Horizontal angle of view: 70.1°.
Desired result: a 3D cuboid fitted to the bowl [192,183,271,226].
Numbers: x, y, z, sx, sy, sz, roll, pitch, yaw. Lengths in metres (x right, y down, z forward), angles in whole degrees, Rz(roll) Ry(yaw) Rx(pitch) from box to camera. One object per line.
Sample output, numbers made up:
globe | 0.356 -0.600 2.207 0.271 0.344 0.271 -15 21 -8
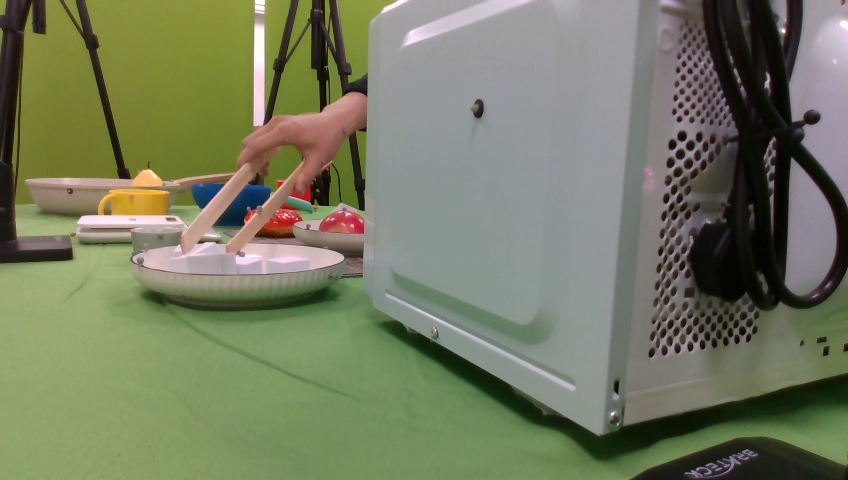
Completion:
bowl | -0.382 -0.071 1.202 0.151 0.077 0.151 3 7 0

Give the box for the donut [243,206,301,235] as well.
donut | -0.261 -0.032 1.043 0.099 0.048 0.099 4 9 0

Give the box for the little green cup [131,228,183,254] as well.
little green cup | -0.342 0.006 0.779 0.061 0.038 0.061 2 8 0

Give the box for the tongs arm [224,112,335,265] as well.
tongs arm | -0.178 -0.086 0.771 0.051 0.026 0.385 10 32 9

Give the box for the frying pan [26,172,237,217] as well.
frying pan | -0.624 -0.118 1.387 0.305 0.102 0.490 8 17 32

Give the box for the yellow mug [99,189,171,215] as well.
yellow mug | -0.518 -0.055 1.080 0.099 0.064 0.131 6 9 26

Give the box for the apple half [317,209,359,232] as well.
apple half | -0.122 -0.019 0.900 0.080 0.053 0.075 3 10 14

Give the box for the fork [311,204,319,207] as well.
fork | -0.356 -0.105 1.526 0.208 0.018 0.028 16 -5 -41

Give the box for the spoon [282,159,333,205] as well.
spoon | -0.317 -0.159 1.640 0.194 0.022 0.041 -49 32 -20

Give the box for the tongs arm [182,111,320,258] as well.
tongs arm | -0.207 -0.090 0.773 0.028 0.028 0.387 5 32 8

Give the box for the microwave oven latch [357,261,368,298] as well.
microwave oven latch | -0.019 0.033 0.530 0.079 0.029 0.030 -1 7 -26

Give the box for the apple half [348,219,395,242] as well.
apple half | -0.083 -0.018 0.966 0.081 0.033 0.081 6 10 -1

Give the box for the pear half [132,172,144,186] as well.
pear half | -0.638 -0.113 1.361 0.031 0.088 0.070 5 11 4

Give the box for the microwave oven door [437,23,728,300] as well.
microwave oven door | 0.181 -0.073 0.621 0.358 0.243 0.039 -2 8 -29

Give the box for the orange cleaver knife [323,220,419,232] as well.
orange cleaver knife | -0.096 -0.027 1.152 0.077 0.012 0.212 2 7 41

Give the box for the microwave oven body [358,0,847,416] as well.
microwave oven body | 0.211 -0.047 0.474 0.444 0.260 0.324 -1 7 -28

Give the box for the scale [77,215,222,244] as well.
scale | -0.434 -0.019 0.963 0.202 0.031 0.148 -1 9 -27

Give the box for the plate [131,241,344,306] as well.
plate | -0.187 0.033 0.625 0.208 0.039 0.207 2 7 0

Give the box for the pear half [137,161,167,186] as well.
pear half | -0.602 -0.120 1.354 0.056 0.110 0.076 4 11 6

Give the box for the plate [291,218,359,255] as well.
plate | -0.098 -0.007 0.928 0.209 0.038 0.209 2 8 0

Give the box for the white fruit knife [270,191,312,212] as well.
white fruit knife | -0.364 -0.105 1.464 0.208 0.027 0.016 15 0 -34
